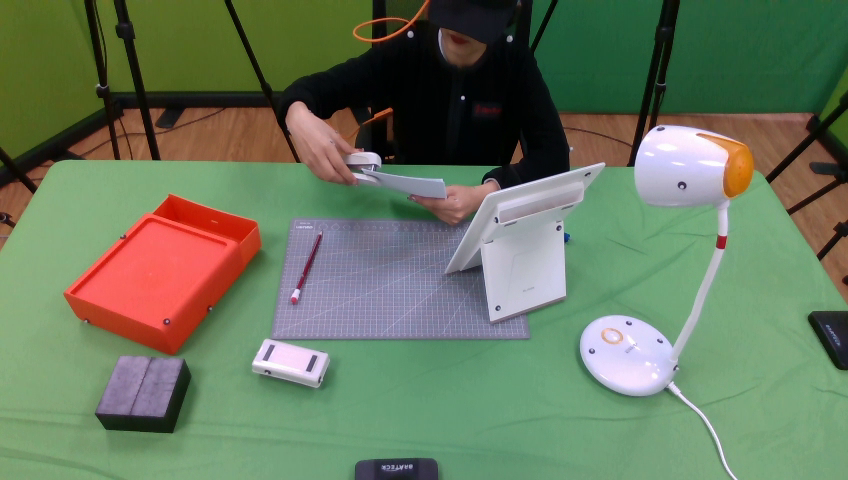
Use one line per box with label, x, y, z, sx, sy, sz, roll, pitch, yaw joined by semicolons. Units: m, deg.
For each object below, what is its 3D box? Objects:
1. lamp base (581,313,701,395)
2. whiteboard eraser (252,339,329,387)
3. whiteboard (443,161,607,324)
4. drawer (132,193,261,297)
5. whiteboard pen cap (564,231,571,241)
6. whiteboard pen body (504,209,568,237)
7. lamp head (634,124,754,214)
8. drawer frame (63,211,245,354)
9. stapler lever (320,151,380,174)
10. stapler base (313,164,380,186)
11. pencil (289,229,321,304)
lamp base;0.361;0.144;0.973;0.178;0.181;0.160;34;53;23
whiteboard eraser;-0.215;0.199;0.976;0.112;0.042;0.055;12;45;7
whiteboard;0.185;0.026;1.028;0.217;0.306;0.143;-15;68;-18
drawer;-0.437;0.027;1.098;0.194;0.073;0.211;18;48;12
whiteboard pen cap;0.281;-0.011;1.230;0.033;0.018;0.018;25;50;16
whiteboard pen body;0.230;-0.034;1.247;0.140;0.017;0.017;23;49;17
lamp head;0.351;-0.089;0.776;0.112;0.113;0.122;-30;30;-28
drawer frame;-0.459;0.067;1.055;0.201;0.083;0.212;17;48;11
stapler lever;-0.137;-0.149;1.136;0.118;0.027;0.040;10;78;21
stapler base;-0.141;-0.125;1.132;0.130;0.041;0.024;10;78;21
pencil;-0.221;0.045;1.141;0.012;0.012;0.193;8;44;4
